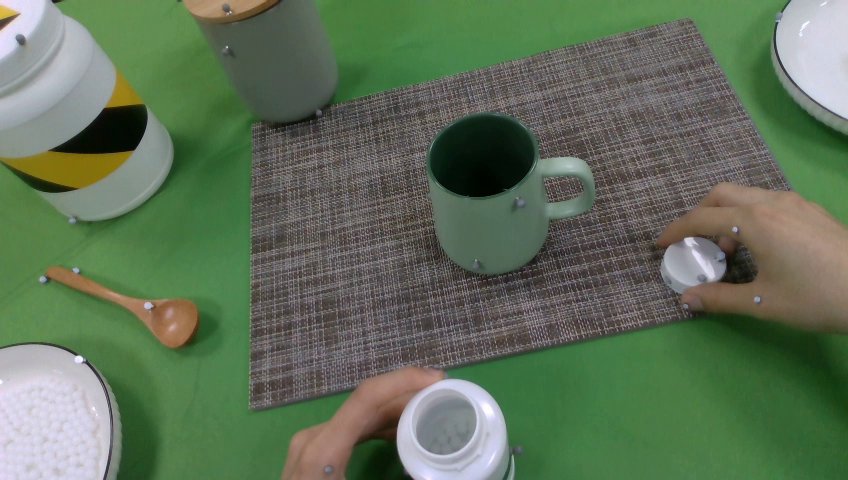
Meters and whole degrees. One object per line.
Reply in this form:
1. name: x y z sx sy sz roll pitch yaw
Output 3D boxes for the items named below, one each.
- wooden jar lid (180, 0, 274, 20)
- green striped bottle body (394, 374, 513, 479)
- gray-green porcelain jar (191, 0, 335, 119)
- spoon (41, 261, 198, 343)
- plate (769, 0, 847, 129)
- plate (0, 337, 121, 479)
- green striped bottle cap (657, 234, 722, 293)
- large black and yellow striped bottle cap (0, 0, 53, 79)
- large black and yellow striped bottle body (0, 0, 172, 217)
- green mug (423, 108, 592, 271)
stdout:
1. wooden jar lid: -0.159 -0.225 0.529 0.108 0.021 0.107 -7 58 11
2. green striped bottle body: 0.020 0.122 0.370 0.063 0.120 0.062 -5 60 9
3. gray-green porcelain jar: -0.148 -0.189 0.580 0.106 0.128 0.105 -5 55 8
4. spoon: -0.270 0.045 0.529 0.193 0.022 0.041 17 83 19
5. plate: 0.402 -0.158 0.509 0.207 0.039 0.205 -5 59 9
6. plate: -0.321 0.176 0.453 0.209 0.038 0.207 -5 59 8
7. green striped bottle cap: 0.199 0.017 0.456 0.044 0.020 0.044 -7 49 9
8. large black and yellow striped bottle cap: -0.347 -0.160 0.471 0.115 0.019 0.114 -5 58 8
9. large black and yellow striped bottle body: -0.331 -0.120 0.543 0.130 0.186 0.129 -5 59 8
10. green mug: 0.063 -0.037 0.460 0.125 0.106 0.091 -5 59 8
